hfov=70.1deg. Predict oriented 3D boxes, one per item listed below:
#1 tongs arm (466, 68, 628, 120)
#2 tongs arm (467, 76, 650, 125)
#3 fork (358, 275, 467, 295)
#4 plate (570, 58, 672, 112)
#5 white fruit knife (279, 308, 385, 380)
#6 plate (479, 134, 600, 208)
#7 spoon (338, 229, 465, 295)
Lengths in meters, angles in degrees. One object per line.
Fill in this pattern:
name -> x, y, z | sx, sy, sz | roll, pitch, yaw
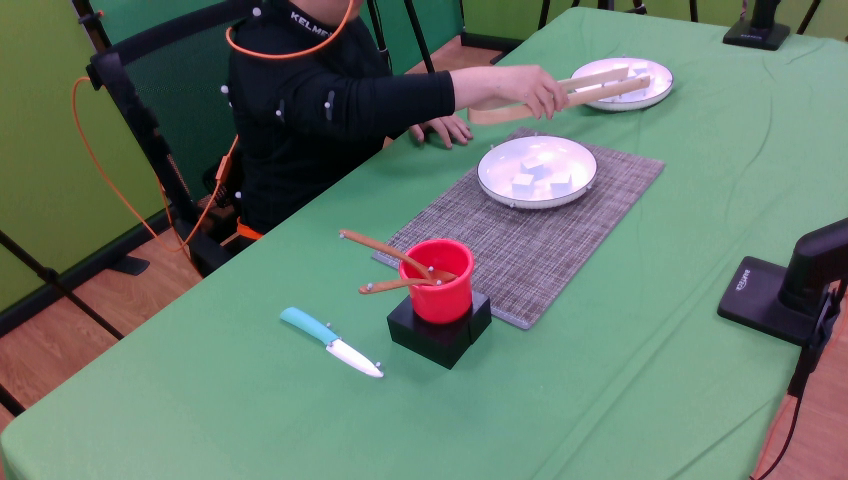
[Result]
tongs arm -> 0.243, -0.285, 1.162 | 0.389, 0.028, 0.028 | -18, 41, -22
tongs arm -> 0.259, -0.267, 1.133 | 0.387, 0.026, 0.050 | -17, 37, -22
fork -> -0.009, 0.056, 0.739 | 0.028, 0.018, 0.209 | 48, 23, 26
plate -> 0.411, -0.323, 1.274 | 0.209, 0.038, 0.208 | -5, 41, 5
white fruit knife -> -0.130, 0.143, 0.845 | 0.205, 0.016, 0.027 | 25, 79, 32
plate -> 0.202, -0.117, 1.065 | 0.207, 0.039, 0.206 | -5, 40, 5
spoon -> -0.025, 0.026, 0.776 | 0.021, 0.195, 0.041 | -41, 34, 31
